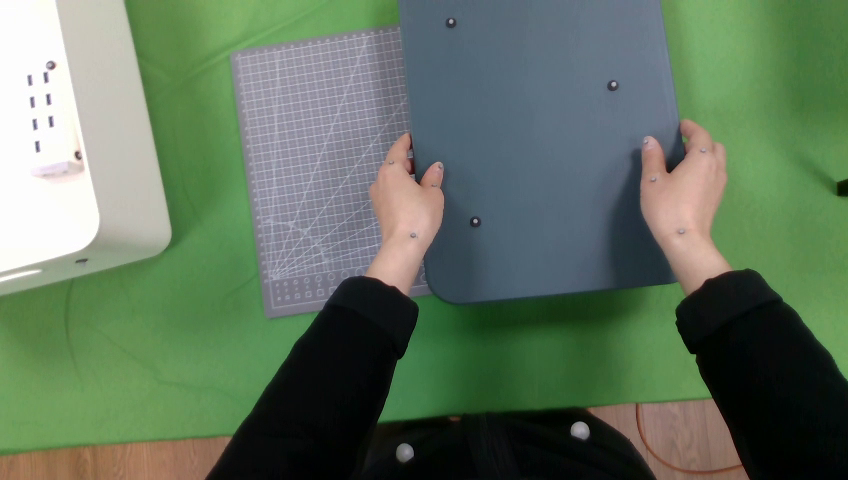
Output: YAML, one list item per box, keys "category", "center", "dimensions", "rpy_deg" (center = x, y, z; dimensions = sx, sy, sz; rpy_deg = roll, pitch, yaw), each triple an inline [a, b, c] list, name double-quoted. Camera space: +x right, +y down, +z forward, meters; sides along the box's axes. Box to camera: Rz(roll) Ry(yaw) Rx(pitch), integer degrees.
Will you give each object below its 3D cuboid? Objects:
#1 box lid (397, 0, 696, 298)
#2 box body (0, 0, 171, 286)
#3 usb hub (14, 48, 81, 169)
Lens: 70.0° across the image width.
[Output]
- category: "box lid"
  center: [0.114, -0.132, 0.598]
  dimensions: [0.263, 0.015, 0.370]
  rpy_deg: [-6, 83, 2]
- category: "box body"
  center: [-0.427, -0.141, 0.602]
  dimensions: [0.254, 0.160, 0.363]
  rpy_deg: [-14, 86, 2]
- category: "usb hub"
  center: [-0.411, -0.143, 0.663]
  dimensions: [0.049, 0.025, 0.125]
  rpy_deg: [-9, 87, 1]
